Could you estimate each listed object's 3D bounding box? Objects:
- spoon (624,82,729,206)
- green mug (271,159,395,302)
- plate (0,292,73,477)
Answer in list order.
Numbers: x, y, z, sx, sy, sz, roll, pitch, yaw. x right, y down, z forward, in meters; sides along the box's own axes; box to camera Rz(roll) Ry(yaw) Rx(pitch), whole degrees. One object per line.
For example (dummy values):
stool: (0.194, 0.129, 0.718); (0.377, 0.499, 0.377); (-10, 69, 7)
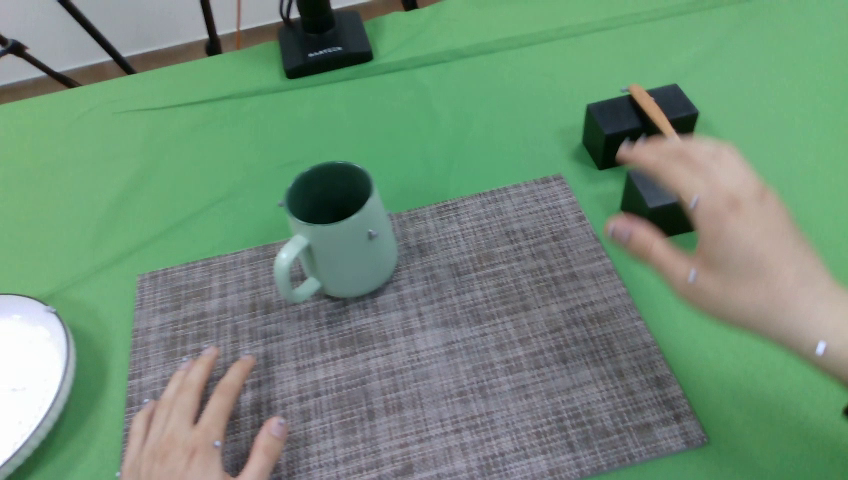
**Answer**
spoon: (0.232, -0.099, 0.576); (0.041, 0.022, 0.191); (-22, 50, 12)
green mug: (-0.087, 0.002, 0.544); (0.092, 0.106, 0.125); (25, 59, 25)
plate: (-0.404, 0.139, 0.522); (0.209, 0.038, 0.207); (-3, 51, 5)
